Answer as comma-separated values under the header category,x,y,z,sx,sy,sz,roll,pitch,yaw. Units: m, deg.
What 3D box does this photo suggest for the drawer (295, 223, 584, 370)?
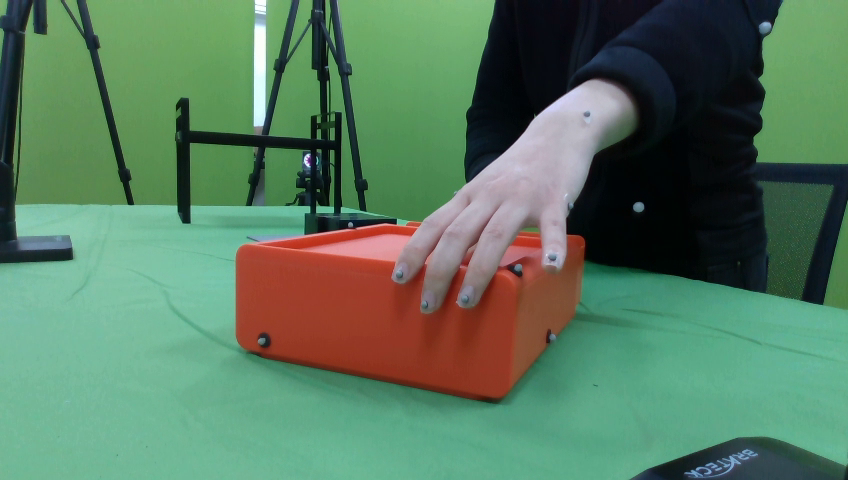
category,x,y,z,sx,sy,sz,roll,pitch,yaw
drawer,0.026,0.038,0.533,0.194,0.073,0.212,6,11,22

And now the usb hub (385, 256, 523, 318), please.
category,x,y,z,sx,sy,sz,roll,pitch,yaw
usb hub,0.027,0.043,0.567,0.124,0.025,0.050,16,2,29

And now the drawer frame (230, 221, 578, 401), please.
category,x,y,z,sx,sy,sz,roll,pitch,yaw
drawer frame,0.000,0.038,0.474,0.201,0.082,0.214,6,9,22
